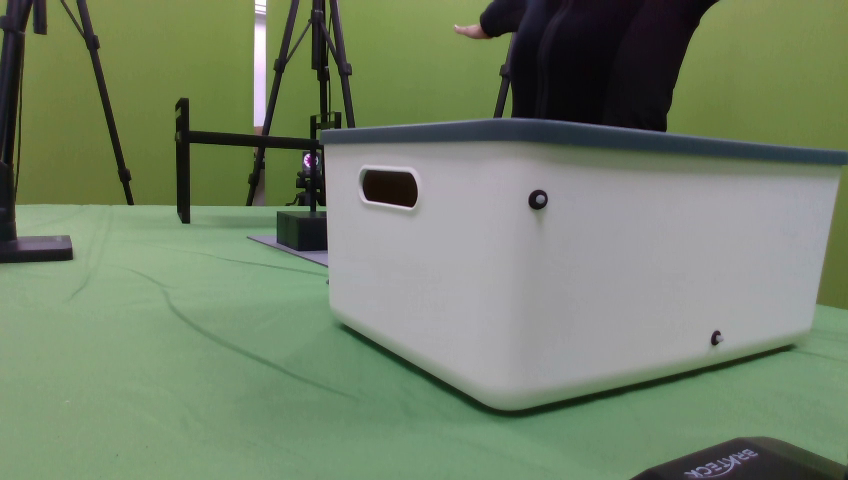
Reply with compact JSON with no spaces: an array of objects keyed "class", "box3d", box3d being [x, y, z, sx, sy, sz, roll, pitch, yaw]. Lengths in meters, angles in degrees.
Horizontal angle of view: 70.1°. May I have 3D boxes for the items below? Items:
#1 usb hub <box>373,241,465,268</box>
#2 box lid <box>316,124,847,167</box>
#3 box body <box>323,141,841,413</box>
[{"class":"usb hub","box3d":[-0.005,0.018,0.826,0.126,0.025,0.049,-3,9,-39]},{"class":"box lid","box3d":[0.127,-0.072,0.491,0.373,0.015,0.262,-2,9,-33]},{"class":"box body","box3d":[0.123,0.001,0.499,0.366,0.160,0.253,-2,9,-33]}]
